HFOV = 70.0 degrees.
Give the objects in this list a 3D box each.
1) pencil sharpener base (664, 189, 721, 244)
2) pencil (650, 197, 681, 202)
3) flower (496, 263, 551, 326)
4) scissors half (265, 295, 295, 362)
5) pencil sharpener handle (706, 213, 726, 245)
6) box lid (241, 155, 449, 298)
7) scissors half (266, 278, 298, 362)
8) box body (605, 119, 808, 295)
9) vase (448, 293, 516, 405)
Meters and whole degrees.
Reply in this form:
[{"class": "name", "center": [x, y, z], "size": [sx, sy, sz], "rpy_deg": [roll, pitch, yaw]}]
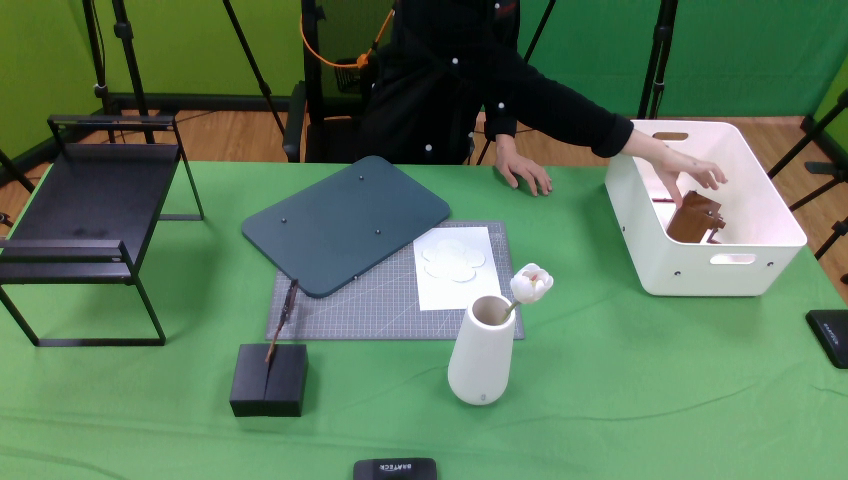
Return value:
[{"class": "pencil sharpener base", "center": [0.530, -0.034, 1.202], "size": [0.076, 0.107, 0.061], "rpy_deg": [30, 51, 21]}, {"class": "pencil", "center": [0.513, -0.089, 1.322], "size": [0.194, 0.012, 0.012], "rpy_deg": [2, 46, 0]}, {"class": "flower", "center": [0.102, 0.120, 0.853], "size": [0.044, 0.363, 0.038], "rpy_deg": [-2, 64, -10]}, {"class": "scissors half", "center": [-0.239, 0.143, 1.005], "size": [0.013, 0.040, 0.174], "rpy_deg": [17, 28, -7]}, {"class": "pencil sharpener handle", "center": [0.572, -0.018, 1.174], "size": [0.030, 0.068, 0.036], "rpy_deg": [30, 47, 21]}, {"class": "box lid", "center": [-0.157, -0.043, 1.234], "size": [0.371, 0.015, 0.262], "rpy_deg": [-34, 56, -31]}, {"class": "scissors half", "center": [-0.234, 0.127, 0.993], "size": [0.013, 0.040, 0.174], "rpy_deg": [12, 46, -4]}, {"class": "box body", "center": [0.529, -0.068, 1.206], "size": [0.254, 0.161, 0.361], "rpy_deg": [1, 46, -4]}, {"class": "vase", "center": [0.091, 0.169, 0.921], "size": [0.098, 0.201, 0.097], "rpy_deg": [3, 47, -3]}]
